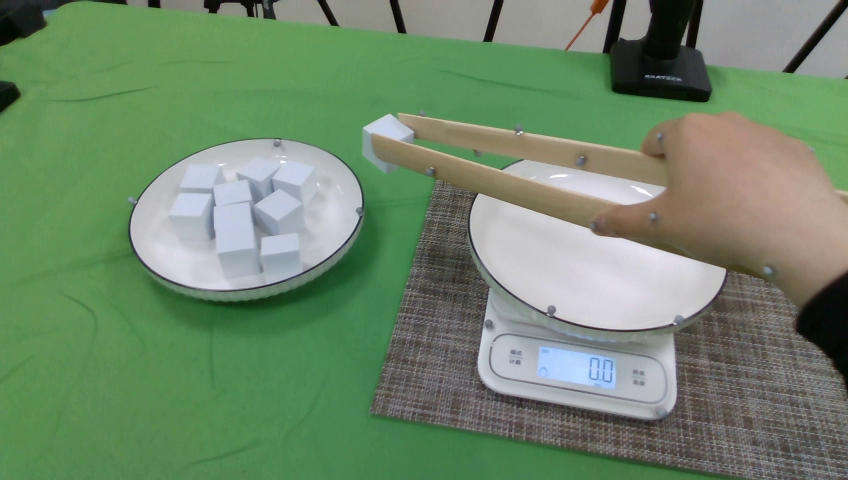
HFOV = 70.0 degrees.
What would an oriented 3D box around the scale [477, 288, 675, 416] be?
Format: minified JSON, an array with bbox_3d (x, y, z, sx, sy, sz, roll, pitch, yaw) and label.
[{"bbox_3d":[0.130,0.044,0.509,0.148,0.032,0.199,9,47,7],"label":"scale"}]

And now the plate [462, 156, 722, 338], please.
[{"bbox_3d":[0.135,0.001,0.505,0.208,0.039,0.205,2,46,-1],"label":"plate"}]

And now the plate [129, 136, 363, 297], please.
[{"bbox_3d":[-0.160,-0.022,0.567,0.209,0.038,0.207,1,45,-1],"label":"plate"}]

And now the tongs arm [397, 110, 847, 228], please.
[{"bbox_3d":[0.123,-0.042,0.401,0.382,0.027,0.050,16,49,33],"label":"tongs arm"}]

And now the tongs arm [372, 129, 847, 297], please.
[{"bbox_3d":[0.108,-0.027,0.389,0.384,0.028,0.028,20,47,35],"label":"tongs arm"}]
